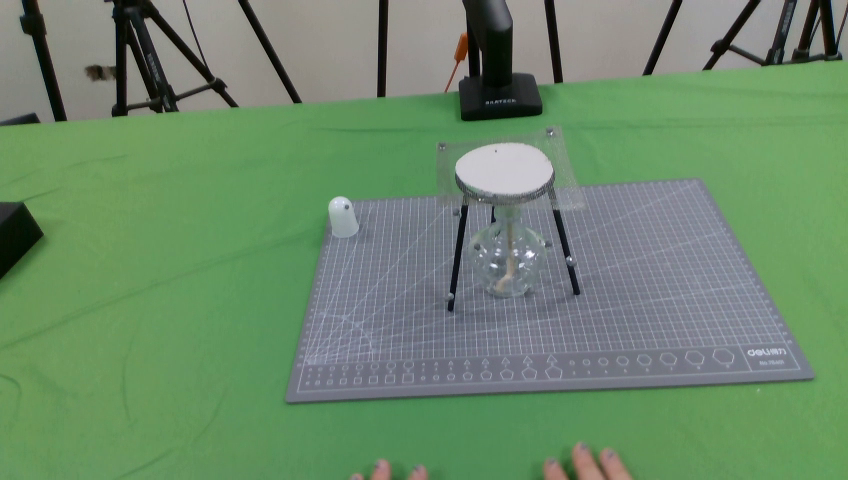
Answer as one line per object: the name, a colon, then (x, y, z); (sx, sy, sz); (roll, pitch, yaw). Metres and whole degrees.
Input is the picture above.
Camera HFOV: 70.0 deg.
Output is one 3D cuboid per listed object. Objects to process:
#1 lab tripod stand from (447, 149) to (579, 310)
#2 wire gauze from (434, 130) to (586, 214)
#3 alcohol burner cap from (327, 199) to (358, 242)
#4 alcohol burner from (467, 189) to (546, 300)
lab tripod stand: (0.080, -0.009, 0.582); (0.148, 0.133, 0.147); (-2, 39, 2)
wire gauze: (0.071, -0.061, 0.539); (0.125, 0.011, 0.120); (-3, 40, 2)
alcohol burner cap: (-0.095, -0.025, 0.697); (0.034, 0.048, 0.033); (-3, 41, 3)
alcohol burner: (0.080, 0.000, 0.586); (0.078, 0.120, 0.077); (-2, 39, 2)
